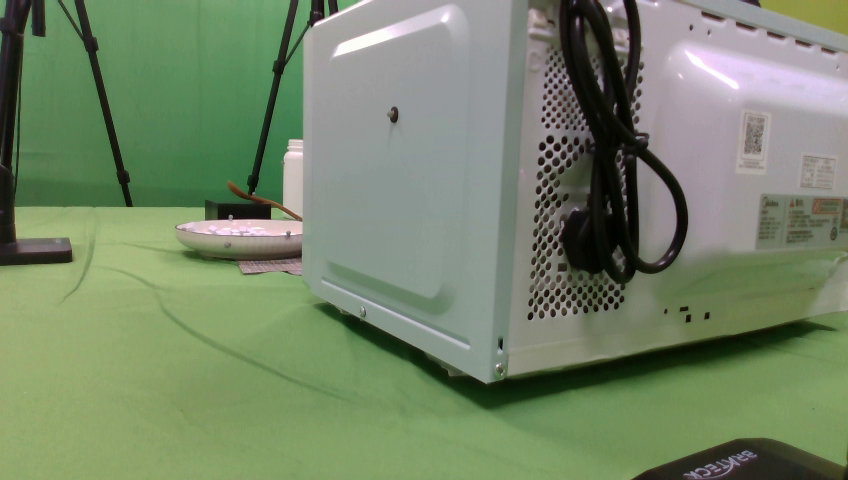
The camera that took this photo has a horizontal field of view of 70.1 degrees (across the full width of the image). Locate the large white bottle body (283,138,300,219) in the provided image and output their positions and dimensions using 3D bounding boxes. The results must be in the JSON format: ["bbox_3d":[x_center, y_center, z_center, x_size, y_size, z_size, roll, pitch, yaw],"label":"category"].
[{"bbox_3d":[-0.265,-0.144,1.423,0.131,0.184,0.130,2,7,0],"label":"large white bottle body"}]

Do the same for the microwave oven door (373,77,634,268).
[{"bbox_3d":[0.097,-0.099,0.839,0.355,0.243,0.039,5,8,21],"label":"microwave oven door"}]

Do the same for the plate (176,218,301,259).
[{"bbox_3d":[-0.248,-0.003,0.877,0.209,0.038,0.209,1,8,0],"label":"plate"}]

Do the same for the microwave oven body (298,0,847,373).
[{"bbox_3d":[0.151,-0.055,0.543,0.444,0.260,0.324,-1,7,-33],"label":"microwave oven body"}]

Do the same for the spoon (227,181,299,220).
[{"bbox_3d":[-0.315,-0.074,1.235,0.195,0.021,0.041,24,-9,-37],"label":"spoon"}]

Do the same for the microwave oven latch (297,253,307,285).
[{"bbox_3d":[-0.082,0.027,0.583,0.079,0.029,0.030,-1,7,-32],"label":"microwave oven latch"}]

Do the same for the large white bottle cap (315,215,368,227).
[{"bbox_3d":[-0.178,-0.041,1.308,0.115,0.018,0.115,2,6,0],"label":"large white bottle cap"}]

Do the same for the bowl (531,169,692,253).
[{"bbox_3d":[0.180,-0.030,0.596,0.151,0.077,0.151,1,6,0],"label":"bowl"}]
